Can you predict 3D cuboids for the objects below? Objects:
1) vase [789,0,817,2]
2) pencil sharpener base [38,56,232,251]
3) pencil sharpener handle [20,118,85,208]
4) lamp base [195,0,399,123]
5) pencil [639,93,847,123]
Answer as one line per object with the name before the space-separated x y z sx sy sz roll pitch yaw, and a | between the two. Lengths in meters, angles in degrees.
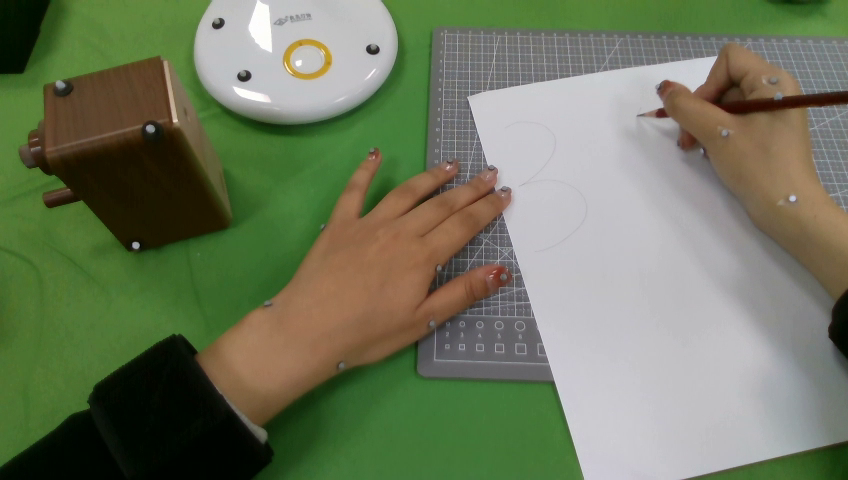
vase | 0.323 -0.286 0.458 0.098 0.201 0.097 -1 59 1
pencil sharpener base | -0.174 -0.048 0.377 0.077 0.108 0.061 -17 62 -8
pencil sharpener handle | -0.223 -0.041 0.359 0.031 0.068 0.035 -17 64 -8
lamp base | -0.108 -0.204 0.423 0.161 0.182 0.177 -26 61 -14
pencil | 0.210 -0.082 0.375 0.012 0.012 0.192 -40 23 -20
